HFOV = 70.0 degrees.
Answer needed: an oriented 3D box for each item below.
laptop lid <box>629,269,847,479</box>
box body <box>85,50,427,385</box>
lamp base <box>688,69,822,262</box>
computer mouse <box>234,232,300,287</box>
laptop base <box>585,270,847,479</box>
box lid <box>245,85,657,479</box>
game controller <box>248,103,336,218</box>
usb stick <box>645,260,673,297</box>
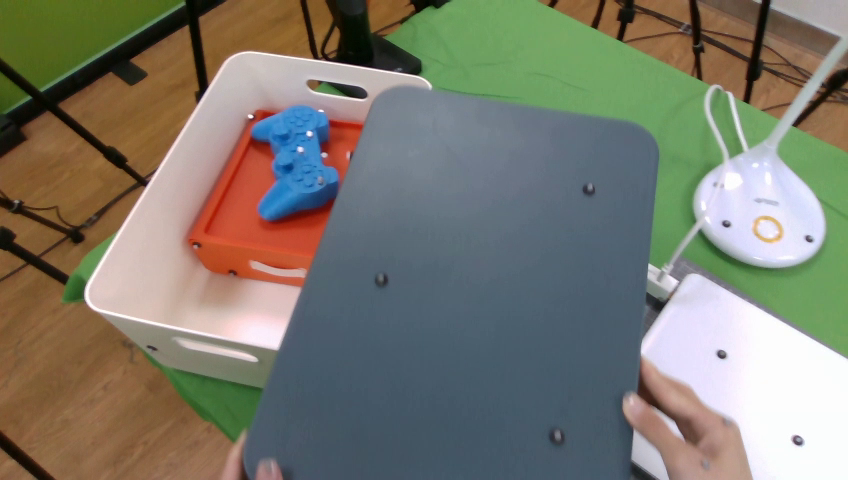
[{"bbox_3d":[0.370,0.198,0.606,0.354,0.013,0.241,35,67,22],"label":"laptop lid"},{"bbox_3d":[-0.153,-0.024,0.691,0.254,0.162,0.361,10,58,8],"label":"box body"},{"bbox_3d":[0.416,-0.094,0.712,0.160,0.182,0.177,0,54,2],"label":"lamp base"},{"bbox_3d":[-0.187,0.015,0.726,0.063,0.041,0.116,-15,18,2],"label":"computer mouse"},{"bbox_3d":[0.372,0.203,0.617,0.352,0.023,0.235,33,67,21],"label":"laptop base"},{"bbox_3d":[0.040,0.034,0.480,0.263,0.015,0.369,12,64,7],"label":"box lid"},{"bbox_3d":[-0.160,-0.103,0.723,0.097,0.052,0.153,-9,57,-9],"label":"game controller"},{"bbox_3d":[0.269,0.047,0.705,0.059,0.027,0.021,38,61,19],"label":"usb stick"}]
